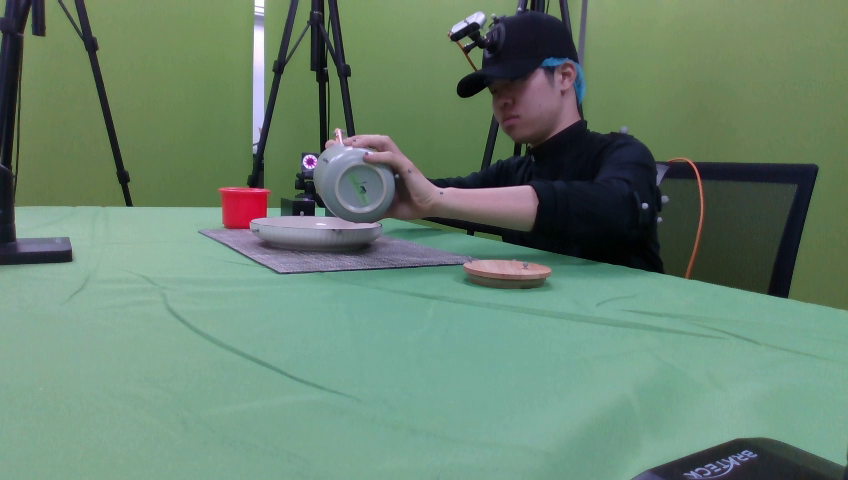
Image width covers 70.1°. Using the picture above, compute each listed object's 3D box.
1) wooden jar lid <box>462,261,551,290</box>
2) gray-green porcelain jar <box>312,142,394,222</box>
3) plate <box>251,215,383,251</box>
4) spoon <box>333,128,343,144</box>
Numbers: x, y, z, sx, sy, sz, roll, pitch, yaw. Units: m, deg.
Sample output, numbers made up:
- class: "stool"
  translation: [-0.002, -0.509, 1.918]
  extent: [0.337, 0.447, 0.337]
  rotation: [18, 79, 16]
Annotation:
- class: "wooden jar lid"
  translation: [0.100, 0.043, 0.742]
  extent: [0.108, 0.020, 0.108]
  rotation: [2, 6, 0]
- class: "gray-green porcelain jar"
  translation: [-0.103, -0.084, 0.870]
  extent: [0.106, 0.106, 0.126]
  rotation: [1, 12, -16]
- class: "plate"
  translation: [-0.170, -0.012, 0.971]
  extent: [0.208, 0.039, 0.207]
  rotation: [2, 7, 0]
- class: "spoon"
  translation: [-0.124, -0.127, 0.912]
  extent: [0.042, 0.021, 0.193]
  rotation: [1, 30, -16]
